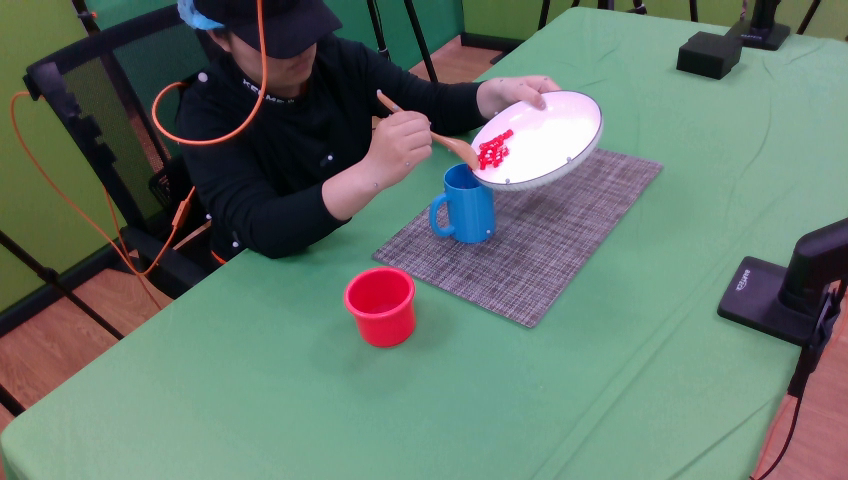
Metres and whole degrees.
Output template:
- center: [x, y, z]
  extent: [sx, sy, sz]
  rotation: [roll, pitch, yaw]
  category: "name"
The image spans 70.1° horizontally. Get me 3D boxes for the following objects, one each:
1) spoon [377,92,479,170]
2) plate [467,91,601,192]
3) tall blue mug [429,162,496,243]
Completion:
- center: [0.010, -0.156, 0.875]
  extent: [0.195, 0.021, 0.041]
  rotation: [26, 47, -27]
  category: "spoon"
- center: [0.166, -0.144, 0.911]
  extent: [0.207, 0.039, 0.206]
  rotation: [-19, 40, 18]
  category: "plate"
- center: [0.067, -0.051, 0.960]
  extent: [0.077, 0.108, 0.107]
  rotation: [18, 47, 27]
  category: "tall blue mug"
